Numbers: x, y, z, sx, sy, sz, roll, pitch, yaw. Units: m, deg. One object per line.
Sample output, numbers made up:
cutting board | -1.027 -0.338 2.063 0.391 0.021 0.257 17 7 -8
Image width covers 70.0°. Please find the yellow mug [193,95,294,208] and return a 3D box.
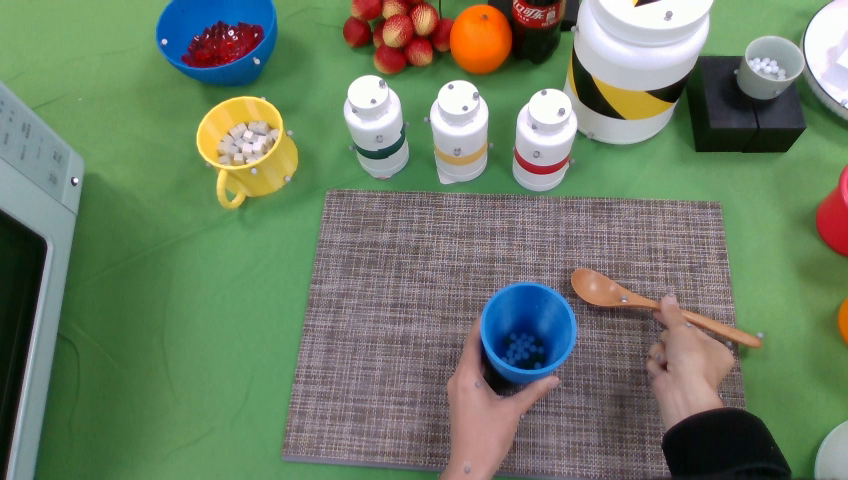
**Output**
yellow mug | -0.215 -0.098 0.710 0.100 0.064 0.130 12 68 9

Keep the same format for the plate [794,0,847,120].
plate | 0.544 -0.211 0.717 0.209 0.038 0.207 -1 66 4

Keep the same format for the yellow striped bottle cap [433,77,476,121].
yellow striped bottle cap | 0.032 -0.146 0.626 0.044 0.019 0.044 -1 67 3

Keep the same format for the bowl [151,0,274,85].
bowl | -0.257 -0.253 0.776 0.151 0.077 0.150 -1 66 3

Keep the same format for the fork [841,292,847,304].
fork | 0.475 0.082 0.532 0.028 0.019 0.205 -31 23 -14

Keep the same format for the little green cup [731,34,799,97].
little green cup | 0.372 -0.190 0.666 0.061 0.039 0.061 -1 65 3

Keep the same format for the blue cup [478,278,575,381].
blue cup | 0.093 0.094 0.577 0.092 0.101 0.092 -1 65 3

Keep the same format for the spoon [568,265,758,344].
spoon | 0.240 0.068 0.618 0.193 0.022 0.041 18 51 16

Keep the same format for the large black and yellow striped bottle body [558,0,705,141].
large black and yellow striped bottle body | 0.222 -0.209 0.661 0.131 0.185 0.129 -2 66 4

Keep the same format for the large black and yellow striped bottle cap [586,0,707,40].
large black and yellow striped bottle cap | 0.215 -0.242 0.584 0.115 0.019 0.114 -2 65 4

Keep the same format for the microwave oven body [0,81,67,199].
microwave oven body | -0.566 0.062 0.556 0.326 0.262 0.438 -7 66 1

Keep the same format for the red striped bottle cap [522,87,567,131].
red striped bottle cap | 0.122 -0.133 0.613 0.044 0.018 0.044 0 65 0

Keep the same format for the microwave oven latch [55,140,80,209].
microwave oven latch | -0.427 -0.076 0.711 0.030 0.030 0.078 -5 66 2

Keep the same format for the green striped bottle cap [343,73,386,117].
green striped bottle cap | -0.063 -0.152 0.636 0.044 0.020 0.044 -1 65 3

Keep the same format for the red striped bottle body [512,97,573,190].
red striped bottle body | 0.128 -0.110 0.660 0.063 0.121 0.062 -3 63 7

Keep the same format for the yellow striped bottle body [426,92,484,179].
yellow striped bottle body | 0.036 -0.124 0.673 0.063 0.121 0.062 -2 65 5

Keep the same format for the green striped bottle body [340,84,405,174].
green striped bottle body | -0.058 -0.131 0.683 0.063 0.120 0.062 -2 65 4

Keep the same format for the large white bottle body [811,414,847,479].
large white bottle body | 0.412 0.184 0.471 0.130 0.186 0.129 -2 65 4

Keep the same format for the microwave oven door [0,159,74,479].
microwave oven door | -0.417 0.082 0.530 0.039 0.246 0.353 -7 66 2
